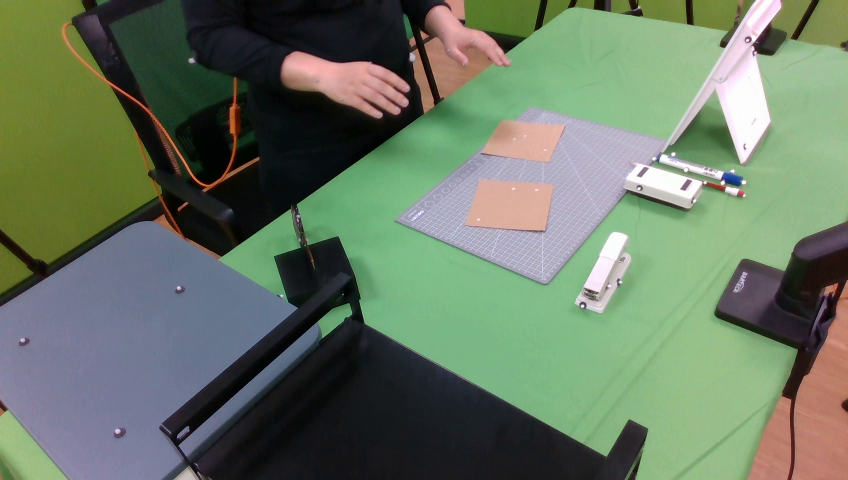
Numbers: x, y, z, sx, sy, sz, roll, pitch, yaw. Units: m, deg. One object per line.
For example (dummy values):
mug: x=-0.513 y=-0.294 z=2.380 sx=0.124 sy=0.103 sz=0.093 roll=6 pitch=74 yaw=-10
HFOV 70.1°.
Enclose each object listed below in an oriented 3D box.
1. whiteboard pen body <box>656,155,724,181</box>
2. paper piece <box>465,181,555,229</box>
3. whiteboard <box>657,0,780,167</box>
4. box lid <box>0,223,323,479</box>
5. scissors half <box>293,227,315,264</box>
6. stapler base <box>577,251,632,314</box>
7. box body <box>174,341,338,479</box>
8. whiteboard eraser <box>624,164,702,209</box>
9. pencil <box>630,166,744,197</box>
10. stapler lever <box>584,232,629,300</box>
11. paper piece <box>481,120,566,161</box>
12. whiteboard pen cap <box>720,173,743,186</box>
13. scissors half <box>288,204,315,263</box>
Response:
whiteboard pen body: x=0.475 y=-0.123 z=1.052 sx=0.139 sy=0.017 sz=0.017 roll=24 pitch=49 yaw=32
paper piece: x=0.149 y=-0.062 z=1.034 sx=0.137 sy=0.009 sz=0.136 roll=4 pitch=37 yaw=17
whiteboard: x=0.571 y=-0.272 z=1.038 sx=0.143 sy=0.306 sz=0.218 roll=37 pitch=54 yaw=17
box lid: x=-0.318 y=0.109 z=0.671 sx=0.368 sy=0.015 sz=0.264 roll=24 pitch=49 yaw=31
scissors half: x=-0.188 y=0.007 z=0.954 sx=0.013 sy=0.040 sz=0.174 roll=-21 pitch=22 yaw=-13
stapler base: x=0.264 y=0.051 z=0.875 sx=0.041 sy=0.024 sz=0.131 roll=16 pitch=47 yaw=30
box body: x=-0.311 y=0.165 z=0.720 sx=0.361 sy=0.161 sz=0.255 roll=23 pitch=49 yaw=32
whiteboard eraser: x=0.396 y=-0.087 z=1.003 sx=0.112 sy=0.042 sz=0.056 roll=22 pitch=47 yaw=31
pencil: x=0.447 y=-0.103 z=1.038 sx=0.192 sy=0.012 sz=0.012 roll=21 pitch=48 yaw=30
stapler lever: x=0.260 y=0.034 z=0.858 sx=0.026 sy=0.040 sz=0.118 roll=16 pitch=46 yaw=30
paper piece: x=0.197 y=-0.199 z=1.188 sx=0.135 sy=0.004 sz=0.135 roll=11 pitch=44 yaw=21
whiteboard pen cap: x=0.519 y=-0.103 z=1.020 sx=0.033 sy=0.018 sz=0.018 roll=23 pitch=49 yaw=30
scissors half: x=-0.191 y=-0.010 z=0.944 sx=0.013 sy=0.040 sz=0.173 roll=-16 pitch=37 yaw=-16
